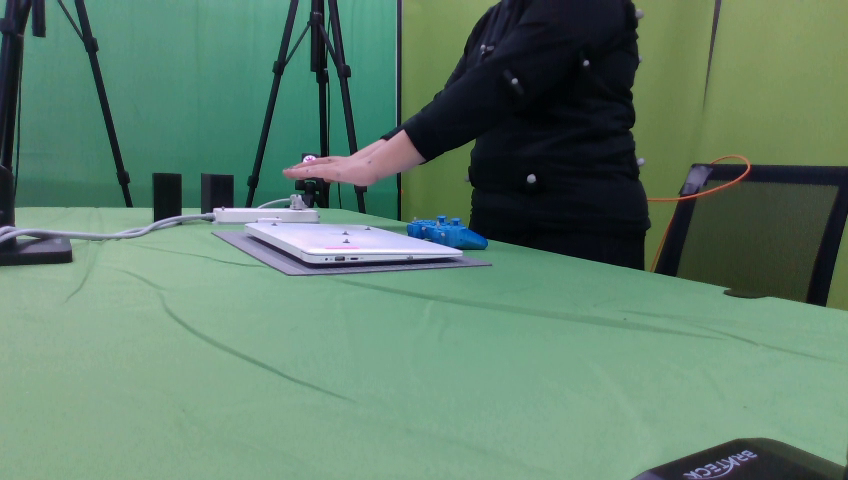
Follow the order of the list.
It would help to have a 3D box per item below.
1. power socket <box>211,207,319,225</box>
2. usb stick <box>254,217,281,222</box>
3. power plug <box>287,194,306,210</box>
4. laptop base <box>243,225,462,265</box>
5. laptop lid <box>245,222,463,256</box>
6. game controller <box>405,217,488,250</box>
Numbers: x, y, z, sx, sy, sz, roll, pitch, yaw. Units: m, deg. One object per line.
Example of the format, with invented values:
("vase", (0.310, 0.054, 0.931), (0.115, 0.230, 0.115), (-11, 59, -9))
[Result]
("power socket", (-0.334, -0.051, 1.281), (0.228, 0.032, 0.072), (-1, 9, -29))
("usb stick", (-0.296, -0.028, 1.114), (0.059, 0.027, 0.021), (-4, 13, -31))
("power plug", (-0.282, -0.075, 1.342), (0.035, 0.052, 0.072), (0, 3, -18))
("laptop base", (-0.129, 0.007, 0.951), (0.237, 0.023, 0.352), (2, 6, -30))
("laptop lid", (-0.126, -0.005, 0.951), (0.243, 0.013, 0.355), (1, 7, -28))
("game controller", (0.034, -0.013, 1.067), (0.097, 0.051, 0.154), (-6, 10, -29))
